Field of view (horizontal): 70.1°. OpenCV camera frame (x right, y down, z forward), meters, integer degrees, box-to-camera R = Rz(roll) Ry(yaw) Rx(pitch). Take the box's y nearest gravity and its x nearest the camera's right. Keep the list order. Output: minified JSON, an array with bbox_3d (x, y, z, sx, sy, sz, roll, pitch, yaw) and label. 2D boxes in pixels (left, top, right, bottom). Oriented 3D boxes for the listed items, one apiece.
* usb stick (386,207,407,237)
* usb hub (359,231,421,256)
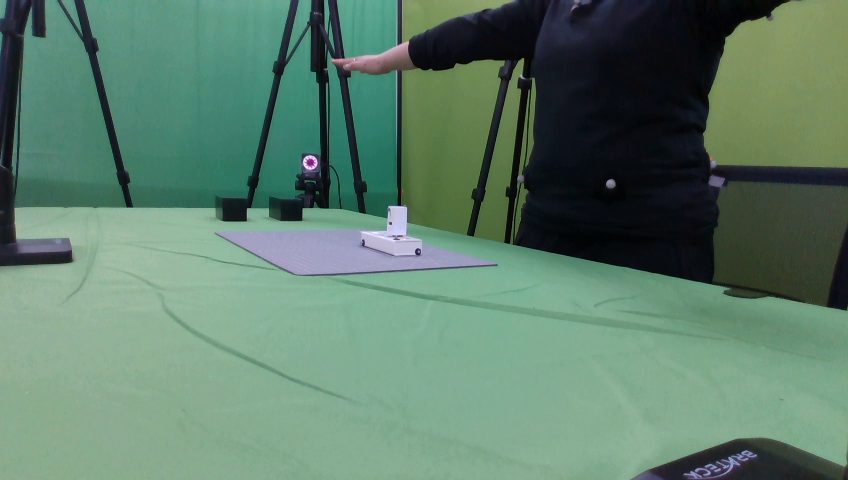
[{"bbox_3d":[-0.043,-0.022,0.937,0.027,0.059,0.021,-5,10,-34],"label":"usb stick"},{"bbox_3d":[-0.056,0.004,0.954,0.050,0.025,0.124,-2,8,-31],"label":"usb hub"}]
